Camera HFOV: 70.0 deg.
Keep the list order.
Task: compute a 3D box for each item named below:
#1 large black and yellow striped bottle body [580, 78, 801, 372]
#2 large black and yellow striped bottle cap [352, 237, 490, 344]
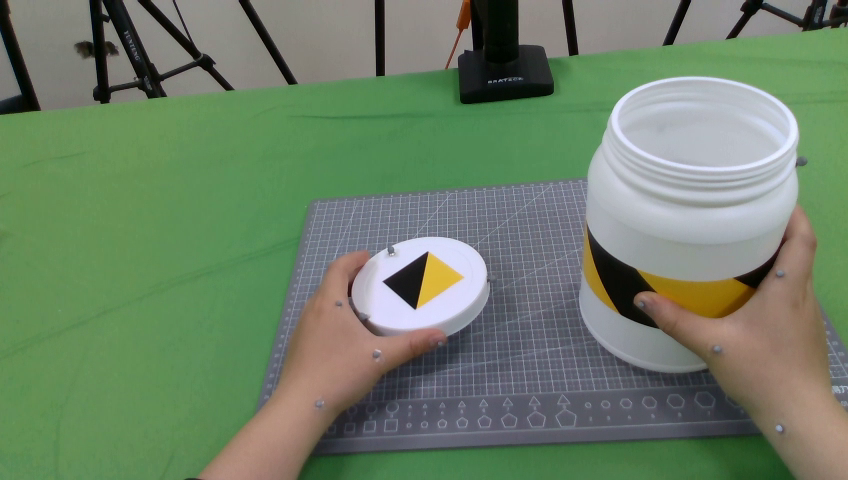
[{"bbox_3d":[0.183,-0.008,0.435,0.131,0.186,0.129,-5,43,5],"label":"large black and yellow striped bottle body"},{"bbox_3d":[-0.003,0.038,0.503,0.115,0.019,0.114,-7,38,6],"label":"large black and yellow striped bottle cap"}]
